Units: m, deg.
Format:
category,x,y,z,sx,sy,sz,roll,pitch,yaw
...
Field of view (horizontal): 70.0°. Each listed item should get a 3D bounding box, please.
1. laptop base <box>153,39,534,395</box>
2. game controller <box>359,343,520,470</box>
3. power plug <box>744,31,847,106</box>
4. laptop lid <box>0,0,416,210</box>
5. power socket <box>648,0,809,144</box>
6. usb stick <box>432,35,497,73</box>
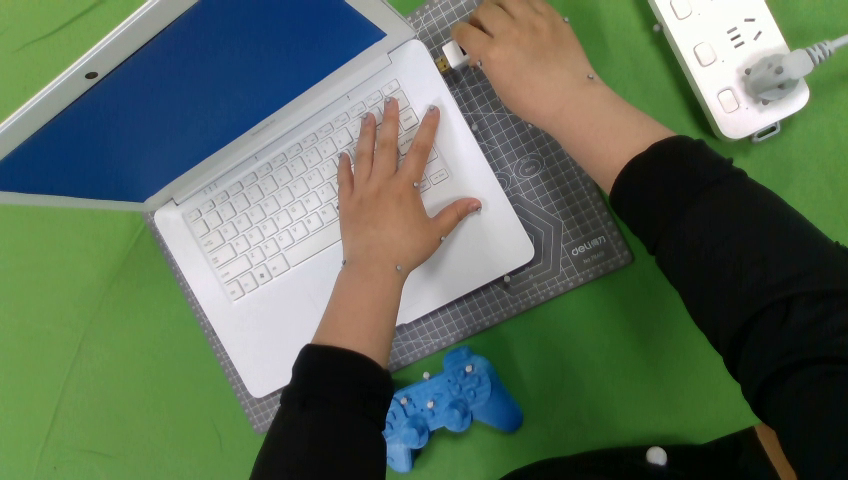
category,x,y,z,sx,sy,sz,roll,pitch,yaw
laptop base,-0.095,-0.009,0.616,0.354,0.023,0.235,-28,92,18
game controller,0.007,0.167,0.598,0.155,0.052,0.097,-27,85,17
power plug,0.285,-0.127,0.462,0.072,0.053,0.035,-16,92,14
laptop lid,-0.192,-0.114,0.505,0.356,0.242,0.013,-29,80,19
power socket,0.231,-0.183,0.490,0.072,0.032,0.226,-26,90,19
usb stick,0.035,-0.167,0.550,0.059,0.027,0.021,-13,96,4
